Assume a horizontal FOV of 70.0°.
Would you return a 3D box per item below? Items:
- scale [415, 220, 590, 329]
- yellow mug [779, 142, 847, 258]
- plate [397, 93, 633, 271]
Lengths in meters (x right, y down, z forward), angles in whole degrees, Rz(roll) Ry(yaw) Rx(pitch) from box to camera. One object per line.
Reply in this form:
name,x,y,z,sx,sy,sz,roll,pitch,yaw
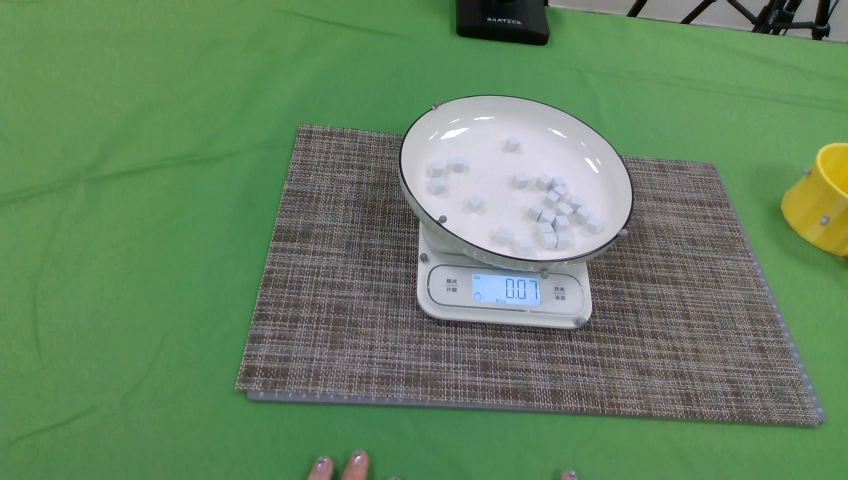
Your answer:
scale,0.069,-0.014,0.549,0.149,0.032,0.199,6,50,-4
yellow mug,0.425,-0.030,0.600,0.100,0.064,0.129,4,51,-6
plate,0.078,-0.053,0.540,0.209,0.038,0.207,5,50,-5
